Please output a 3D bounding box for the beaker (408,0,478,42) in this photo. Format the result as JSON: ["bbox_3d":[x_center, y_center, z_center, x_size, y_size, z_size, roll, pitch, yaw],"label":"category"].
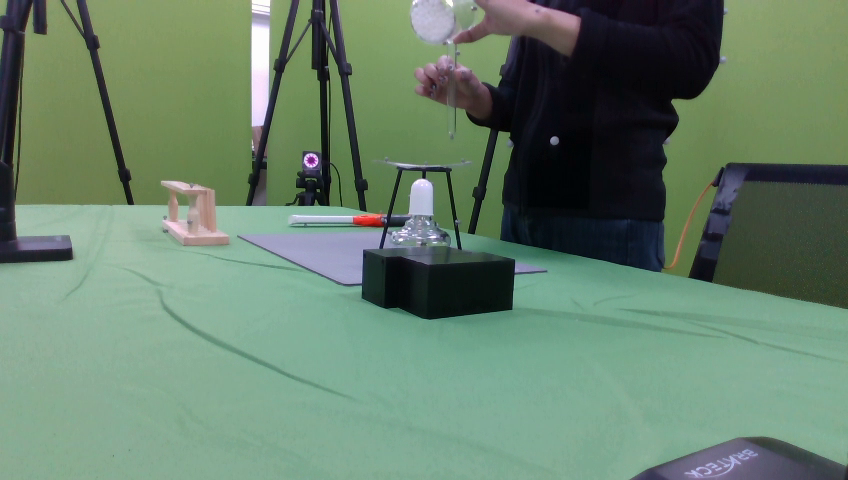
[{"bbox_3d":[0.026,-0.326,0.875,0.074,0.084,0.100,17,30,18],"label":"beaker"}]

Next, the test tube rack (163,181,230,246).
[{"bbox_3d":[-0.387,-0.050,1.015,0.067,0.085,0.241,-2,9,-30],"label":"test tube rack"}]

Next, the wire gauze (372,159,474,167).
[{"bbox_3d":[-0.004,-0.122,0.959,0.122,0.011,0.124,-4,9,-33],"label":"wire gauze"}]

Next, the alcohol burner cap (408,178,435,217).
[{"bbox_3d":[-0.002,-0.053,0.746,0.034,0.048,0.034,2,3,0],"label":"alcohol burner cap"}]

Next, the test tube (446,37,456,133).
[{"bbox_3d":[0.044,-0.245,0.963,0.017,0.150,0.017,-1,26,1],"label":"test tube"}]

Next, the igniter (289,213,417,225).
[{"bbox_3d":[-0.144,-0.044,1.275,0.278,0.025,0.057,-1,-2,-27],"label":"igniter"}]

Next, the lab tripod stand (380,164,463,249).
[{"bbox_3d":[-0.003,-0.055,0.967,0.148,0.131,0.148,2,9,0],"label":"lab tripod stand"}]

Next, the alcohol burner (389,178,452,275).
[{"bbox_3d":[-0.004,-0.017,0.749,0.078,0.119,0.078,1,9,0],"label":"alcohol burner"}]
